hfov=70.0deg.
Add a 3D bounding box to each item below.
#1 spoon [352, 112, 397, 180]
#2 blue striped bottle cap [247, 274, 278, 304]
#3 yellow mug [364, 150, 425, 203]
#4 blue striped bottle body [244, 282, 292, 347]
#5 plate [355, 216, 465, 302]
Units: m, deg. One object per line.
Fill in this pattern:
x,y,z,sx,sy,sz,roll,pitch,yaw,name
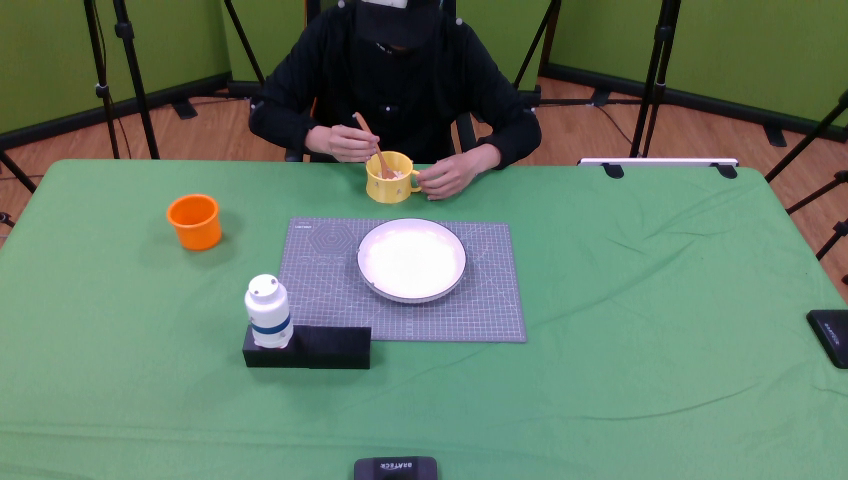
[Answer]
-0.098,-0.179,1.259,0.021,0.194,0.041,7,40,48,spoon
-0.239,0.072,0.900,0.044,0.021,0.044,4,46,-4,blue striped bottle cap
-0.061,-0.133,1.291,0.131,0.064,0.099,8,46,3,yellow mug
-0.241,0.108,0.937,0.063,0.121,0.062,2,46,-2,blue striped bottle body
-0.027,0.039,1.144,0.208,0.039,0.206,2,46,-2,plate
